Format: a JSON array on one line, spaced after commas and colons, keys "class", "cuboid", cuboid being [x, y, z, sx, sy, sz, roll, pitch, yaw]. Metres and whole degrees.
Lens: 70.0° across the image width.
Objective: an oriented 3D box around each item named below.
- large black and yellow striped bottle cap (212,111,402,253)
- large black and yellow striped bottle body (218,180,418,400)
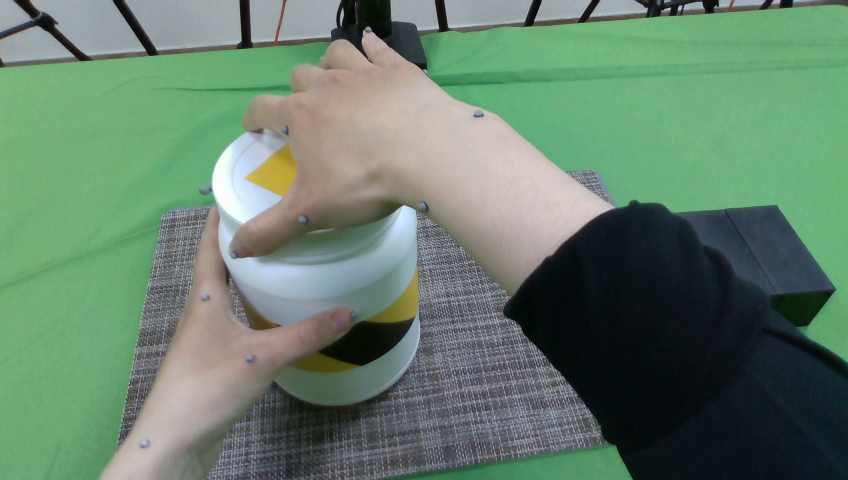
[{"class": "large black and yellow striped bottle cap", "cuboid": [-0.071, -0.040, 0.375, 0.115, 0.019, 0.114, -1, 47, 1]}, {"class": "large black and yellow striped bottle body", "cuboid": [-0.070, 0.017, 0.438, 0.131, 0.185, 0.129, 0, 48, 0]}]
